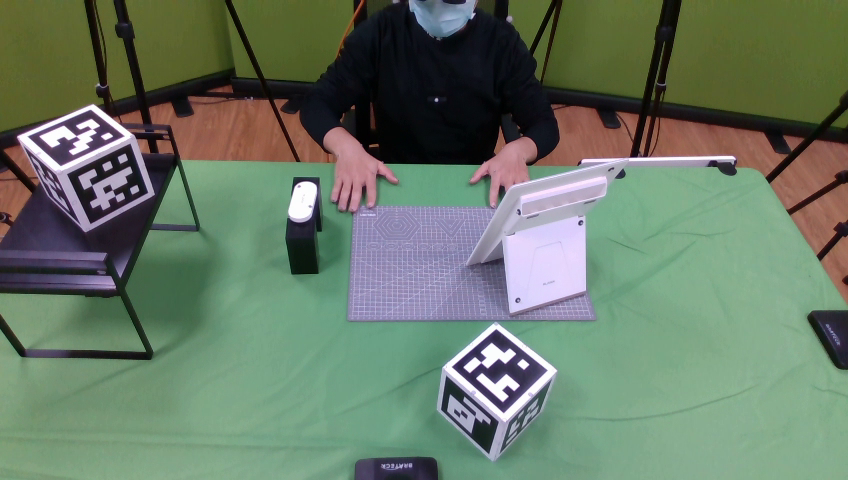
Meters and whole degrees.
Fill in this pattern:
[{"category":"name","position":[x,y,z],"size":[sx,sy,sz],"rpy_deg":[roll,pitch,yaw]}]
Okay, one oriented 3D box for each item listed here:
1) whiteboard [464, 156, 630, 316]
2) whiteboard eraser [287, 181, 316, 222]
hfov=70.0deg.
[{"category":"whiteboard","position":[0.224,0.014,1.041],"size":[0.217,0.306,0.143],"rpy_deg":[-14,68,-17]},{"category":"whiteboard eraser","position":[-0.224,-0.071,1.112],"size":[0.041,0.019,0.100],"rpy_deg":[3,45,0]}]
